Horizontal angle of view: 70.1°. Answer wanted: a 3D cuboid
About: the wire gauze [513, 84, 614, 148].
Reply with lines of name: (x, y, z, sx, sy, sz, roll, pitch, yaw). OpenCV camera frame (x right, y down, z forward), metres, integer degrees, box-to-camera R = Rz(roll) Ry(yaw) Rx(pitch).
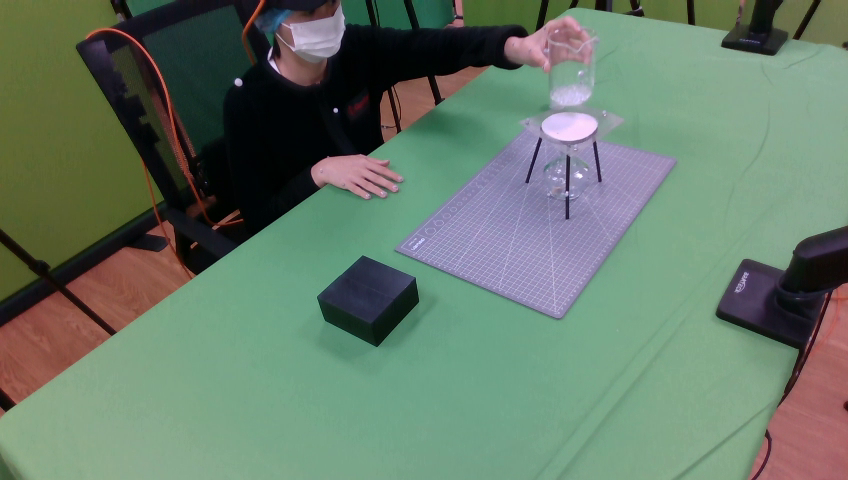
wire gauze: (0.220, -0.194, 0.951, 0.120, 0.011, 0.125, 23, 56, 25)

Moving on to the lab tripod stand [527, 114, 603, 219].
lab tripod stand: (0.234, -0.129, 1.002, 0.148, 0.132, 0.147, -6, 40, 6)

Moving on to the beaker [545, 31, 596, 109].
beaker: (0.226, -0.260, 0.934, 0.074, 0.101, 0.083, -7, 37, 4)

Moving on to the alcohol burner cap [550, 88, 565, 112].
alcohol burner cap: (0.281, -0.297, 1.271, 0.034, 0.048, 0.033, -4, 41, 4)

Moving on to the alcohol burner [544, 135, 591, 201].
alcohol burner: (0.240, -0.125, 1.012, 0.078, 0.119, 0.077, -5, 42, 5)
